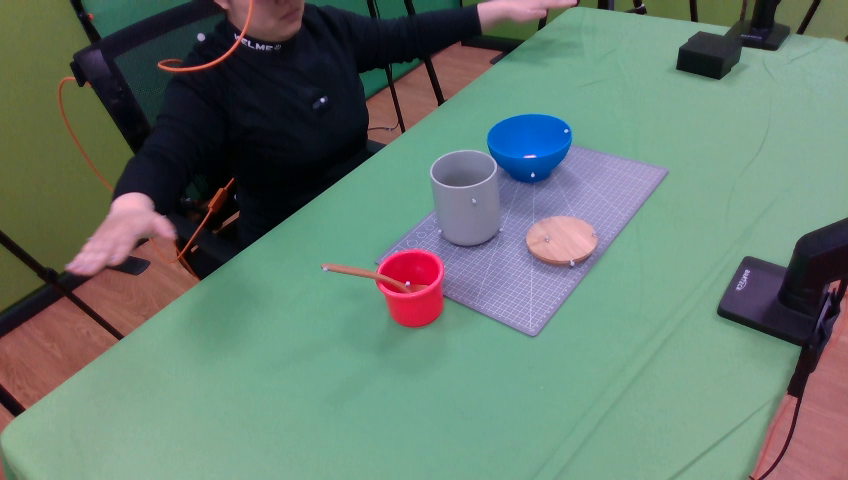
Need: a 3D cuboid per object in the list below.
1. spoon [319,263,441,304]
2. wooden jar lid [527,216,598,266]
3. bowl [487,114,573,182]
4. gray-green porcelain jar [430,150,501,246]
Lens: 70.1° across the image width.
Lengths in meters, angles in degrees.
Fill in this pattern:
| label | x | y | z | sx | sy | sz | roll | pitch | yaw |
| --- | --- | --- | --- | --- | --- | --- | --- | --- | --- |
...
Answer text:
| label | x | y | z | sx | sy | sz | roll | pitch | yaw |
| --- | --- | --- | --- | --- | --- | --- | --- | --- | --- |
| spoon | -0.056 | 0.056 | 0.833 | 0.195 | 0.021 | 0.041 | 22 | 27 | -35 |
| wooden jar lid | 0.214 | 0.003 | 0.937 | 0.108 | 0.021 | 0.108 | -4 | 40 | 4 |
| bowl | 0.190 | -0.156 | 1.085 | 0.151 | 0.077 | 0.150 | -5 | 40 | 5 |
| gray-green porcelain jar | 0.068 | -0.062 | 0.958 | 0.106 | 0.127 | 0.105 | -5 | 40 | 5 |
